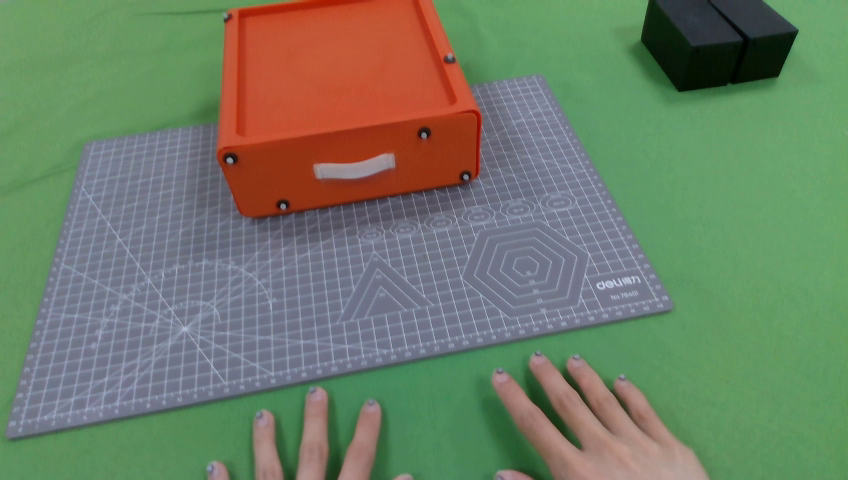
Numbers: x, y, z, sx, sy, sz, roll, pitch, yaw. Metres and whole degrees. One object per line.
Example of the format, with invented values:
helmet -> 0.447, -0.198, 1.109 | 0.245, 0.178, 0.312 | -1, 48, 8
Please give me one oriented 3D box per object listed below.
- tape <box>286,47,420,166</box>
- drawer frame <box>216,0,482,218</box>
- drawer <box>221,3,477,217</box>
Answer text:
tape -> -0.063, -0.122, 0.545 | 0.117, 0.053, 0.115 | -2, 48, 2
drawer frame -> -0.072, -0.130, 0.542 | 0.202, 0.083, 0.211 | -11, 48, -6
drawer -> -0.071, -0.127, 0.542 | 0.195, 0.074, 0.209 | -10, 48, -5
